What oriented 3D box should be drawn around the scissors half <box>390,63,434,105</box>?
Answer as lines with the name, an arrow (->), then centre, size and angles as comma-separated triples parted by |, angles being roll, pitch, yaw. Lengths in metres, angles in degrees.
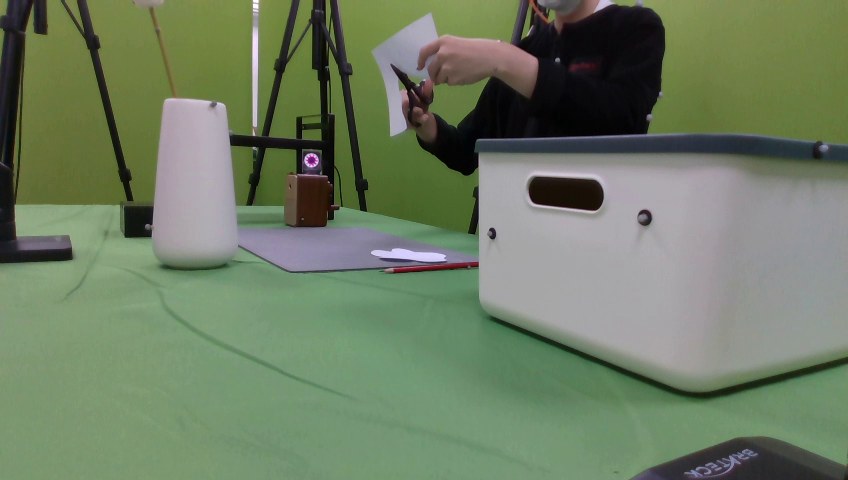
scissors half -> -0.020, -0.284, 1.085 | 0.013, 0.040, 0.176 | 15, 1, 25

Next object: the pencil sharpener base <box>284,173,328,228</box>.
pencil sharpener base -> -0.239, -0.081, 1.231 | 0.077, 0.107, 0.061 | -2, 8, -36

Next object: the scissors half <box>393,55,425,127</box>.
scissors half -> -0.029, -0.263, 1.081 | 0.012, 0.040, 0.176 | 20, -26, 26

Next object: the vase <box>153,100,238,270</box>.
vase -> -0.278, -0.066, 0.736 | 0.098, 0.200, 0.098 | 2, 9, 0

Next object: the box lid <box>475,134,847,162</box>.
box lid -> 0.256, -0.073, 0.528 | 0.373, 0.015, 0.262 | -2, 8, -31

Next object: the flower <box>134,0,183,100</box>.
flower -> -0.282, -0.147, 0.713 | 0.038, 0.362, 0.044 | -23, 24, -31

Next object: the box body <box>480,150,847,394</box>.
box body -> 0.254, 0.002, 0.539 | 0.366, 0.160, 0.253 | -2, 8, -31

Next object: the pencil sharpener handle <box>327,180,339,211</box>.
pencil sharpener handle -> -0.194, -0.094, 1.256 | 0.031, 0.067, 0.036 | -2, -6, -36

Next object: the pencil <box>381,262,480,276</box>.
pencil -> 0.030, 0.037, 0.794 | 0.195, 0.012, 0.012 | -4, 10, -31
